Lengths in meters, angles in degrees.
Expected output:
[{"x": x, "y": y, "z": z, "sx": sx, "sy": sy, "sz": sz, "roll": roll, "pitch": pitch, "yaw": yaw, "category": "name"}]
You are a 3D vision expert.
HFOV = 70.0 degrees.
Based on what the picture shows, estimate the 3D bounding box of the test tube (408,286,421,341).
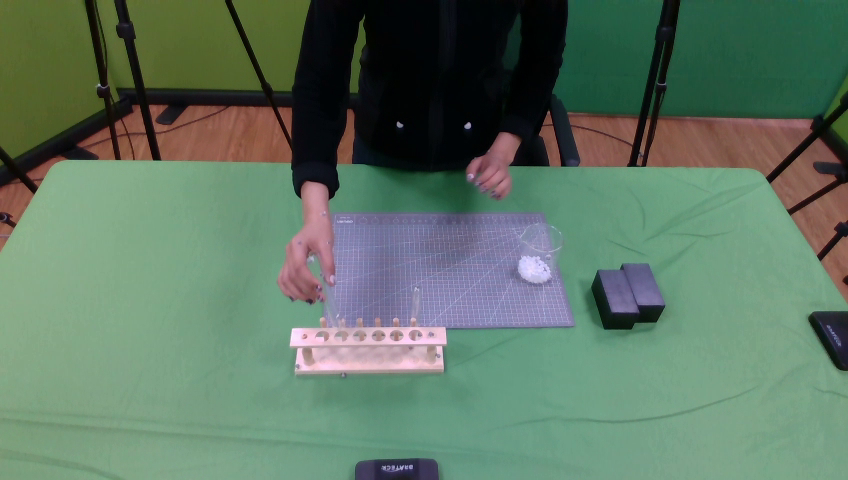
[{"x": -0.016, "y": 0.124, "z": 0.973, "sx": 0.017, "sy": 0.151, "sz": 0.017, "roll": 2, "pitch": 46, "yaw": -2, "category": "test tube"}]

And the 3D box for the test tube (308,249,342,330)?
[{"x": -0.144, "y": 0.076, "z": 0.887, "sx": 0.017, "sy": 0.151, "sz": 0.017, "roll": -7, "pitch": 35, "yaw": 5, "category": "test tube"}]

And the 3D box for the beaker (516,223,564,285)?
[{"x": 0.211, "y": 0.029, "z": 1.131, "sx": 0.084, "sy": 0.101, "sz": 0.073, "roll": -1, "pitch": 46, "yaw": -4, "category": "beaker"}]

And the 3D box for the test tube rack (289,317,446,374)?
[{"x": -0.089, "y": 0.167, "z": 0.987, "sx": 0.242, "sy": 0.085, "sz": 0.066, "roll": 0, "pitch": 46, "yaw": -4, "category": "test tube rack"}]
